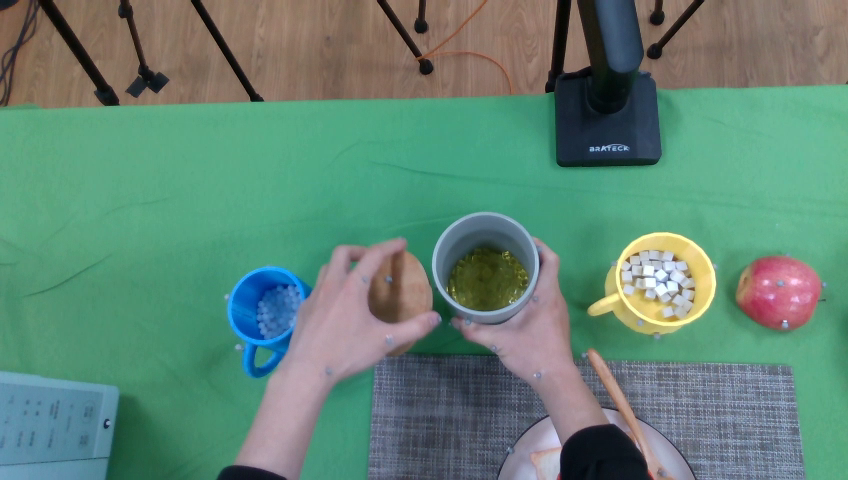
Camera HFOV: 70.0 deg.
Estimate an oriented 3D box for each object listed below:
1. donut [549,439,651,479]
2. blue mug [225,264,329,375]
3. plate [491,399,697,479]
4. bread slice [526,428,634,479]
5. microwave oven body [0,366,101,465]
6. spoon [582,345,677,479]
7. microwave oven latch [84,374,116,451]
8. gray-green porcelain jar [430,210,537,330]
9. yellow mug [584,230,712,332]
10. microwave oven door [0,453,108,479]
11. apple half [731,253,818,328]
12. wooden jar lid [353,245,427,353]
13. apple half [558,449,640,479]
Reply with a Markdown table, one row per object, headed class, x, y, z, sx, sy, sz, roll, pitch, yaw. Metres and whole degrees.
| class | x | y | z | sx | sy | sz | roll | pitch | yaw |
| --- | --- | --- | --- | --- | --- | --- | --- | --- | --- |
| donut | 0.171 | 0.244 | 0.586 | 0.099 | 0.048 | 0.098 | -2 | 74 | 7 |
| blue mug | -0.165 | 0.094 | 0.664 | 0.082 | 0.106 | 0.116 | 21 | 77 | 12 |
| plate | 0.168 | 0.267 | 0.609 | 0.207 | 0.039 | 0.206 | -2 | 74 | 6 |
| bread slice | 0.174 | 0.266 | 0.611 | 0.107 | 0.018 | 0.133 | -16 | 72 | 2 |
| microwave oven body | -0.534 | 0.334 | 0.552 | 0.326 | 0.262 | 0.439 | 1 | 75 | 6 |
| spoon | 0.211 | 0.194 | 0.609 | 0.041 | 0.022 | 0.193 | -25 | 82 | -4 |
| microwave oven latch | -0.370 | 0.192 | 0.675 | 0.030 | 0.030 | 0.079 | 7 | 76 | 8 |
| gray-green porcelain jar | 0.064 | 0.039 | 0.644 | 0.106 | 0.127 | 0.105 | -2 | 73 | 6 |
| yellow mug | 0.234 | 0.052 | 0.653 | 0.131 | 0.064 | 0.099 | -23 | 73 | 0 |
| microwave oven door | -0.391 | 0.375 | 0.519 | 0.039 | 0.245 | 0.353 | 0 | 74 | 8 |
| apple half | 0.376 | 0.049 | 0.644 | 0.074 | 0.054 | 0.080 | 22 | 78 | 15 |
| wooden jar lid | -0.033 | 0.060 | 0.607 | 0.108 | 0.021 | 0.108 | -17 | 67 | 48 |
| apple half | 0.164 | 0.233 | 0.553 | 0.081 | 0.033 | 0.081 | -4 | 71 | 12 |
